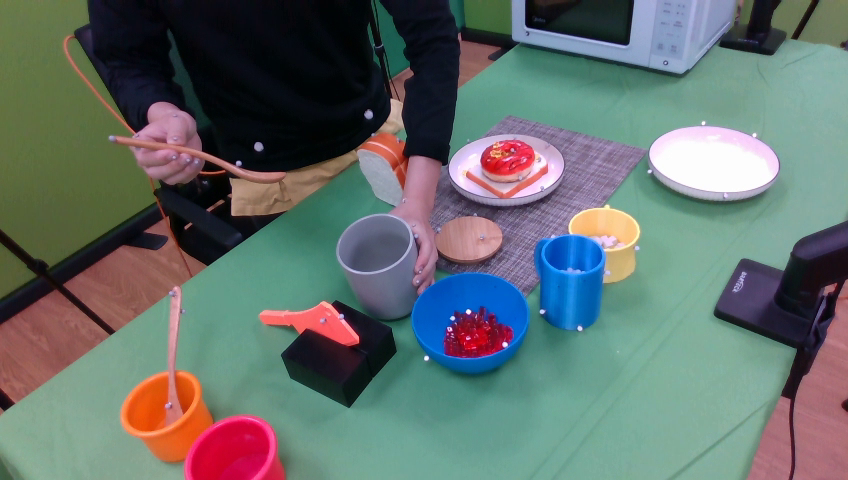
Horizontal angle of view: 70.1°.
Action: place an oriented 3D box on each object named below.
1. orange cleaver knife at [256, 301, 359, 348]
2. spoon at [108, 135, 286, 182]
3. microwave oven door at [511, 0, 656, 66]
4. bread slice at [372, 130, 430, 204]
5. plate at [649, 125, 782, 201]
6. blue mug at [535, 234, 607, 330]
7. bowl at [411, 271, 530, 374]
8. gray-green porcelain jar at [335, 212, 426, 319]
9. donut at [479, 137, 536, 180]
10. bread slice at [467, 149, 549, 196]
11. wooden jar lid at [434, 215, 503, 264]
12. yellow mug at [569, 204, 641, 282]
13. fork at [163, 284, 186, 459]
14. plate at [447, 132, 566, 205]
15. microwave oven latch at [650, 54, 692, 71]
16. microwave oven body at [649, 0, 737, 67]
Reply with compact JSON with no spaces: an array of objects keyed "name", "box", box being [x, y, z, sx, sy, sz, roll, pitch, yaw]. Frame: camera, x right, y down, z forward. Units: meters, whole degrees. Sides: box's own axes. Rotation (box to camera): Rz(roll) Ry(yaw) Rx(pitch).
[{"name":"orange cleaver knife","box":[-0.160,0.115,0.813,0.210,0.077,0.012,-9,29,48]},{"name":"spoon","box":[-0.257,-0.096,0.702,0.195,0.021,0.041,15,11,-26]},{"name":"microwave oven door","box":[0.351,-0.539,1.348,0.353,0.245,0.039,24,50,31]},{"name":"bread slice","box":[-0.043,-0.126,1.038,0.106,0.135,0.018,30,61,33]},{"name":"plate","box":[0.493,-0.127,1.036,0.207,0.039,0.206,-4,41,4]},{"name":"blue mug","box":[0.191,0.048,0.824,0.082,0.106,0.115,-26,44,-20]},{"name":"bowl","box":[0.062,0.120,0.780,0.151,0.077,0.150,-4,40,4]},{"name":"gray-green porcelain jar","box":[-0.055,0.041,0.839,0.106,0.127,0.105,-6,50,8]},{"name":"donut","box":[0.145,-0.144,1.056,0.099,0.048,0.098,-6,42,6]},{"name":"bread slice","box":[0.156,-0.128,1.085,0.132,0.019,0.104,-34,48,-23]},{"name":"wooden jar lid","box":[0.070,0.001,0.956,0.108,0.021,0.108,-4,40,4]},{"name":"yellow mug","box":[0.268,-0.005,0.904,0.099,0.064,0.130,7,41,15]},{"name":"fork","box":[-0.302,0.157,0.733,0.028,0.019,0.207,-3,84,14]},{"name":"plate","box":[0.146,-0.124,1.076,0.209,0.038,0.208,-3,41,3]},{"name":"microwave oven latch","box":[0.531,-0.386,1.301,0.078,0.029,0.030,25,51,33]},{"name":"microwave oven body","box":[0.475,-0.602,1.411,0.438,0.261,0.327,23,50,32]}]
